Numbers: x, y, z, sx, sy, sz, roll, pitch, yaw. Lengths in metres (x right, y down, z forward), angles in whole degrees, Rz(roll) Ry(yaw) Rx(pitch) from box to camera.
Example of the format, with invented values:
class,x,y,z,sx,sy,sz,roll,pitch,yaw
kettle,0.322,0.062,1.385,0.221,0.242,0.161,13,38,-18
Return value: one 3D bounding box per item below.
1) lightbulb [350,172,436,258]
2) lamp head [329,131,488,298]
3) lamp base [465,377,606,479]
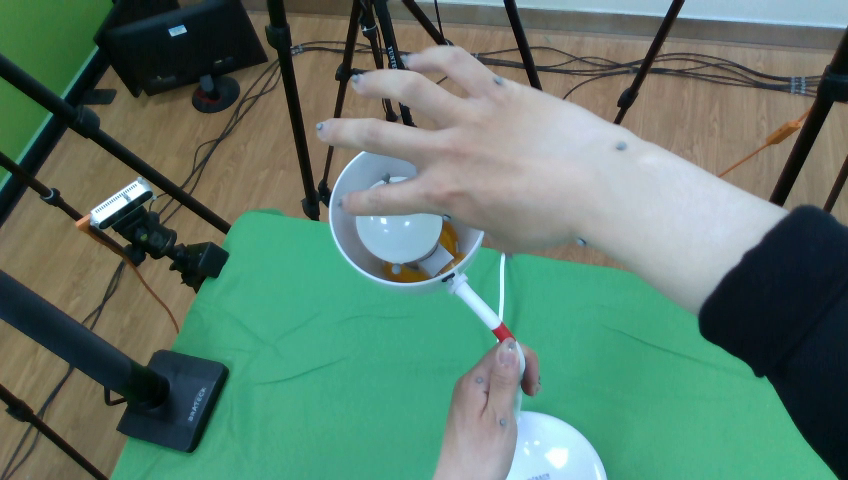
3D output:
class,x,y,z,sx,sy,sz,roll,pitch,yaw
lightbulb,-0.023,-0.012,0.443,0.059,0.108,0.059,1,78,-3
lamp head,-0.004,-0.006,0.468,0.112,0.124,0.111,-3,68,7
lamp base,0.112,0.226,0.641,0.161,0.182,0.177,-26,57,-7
